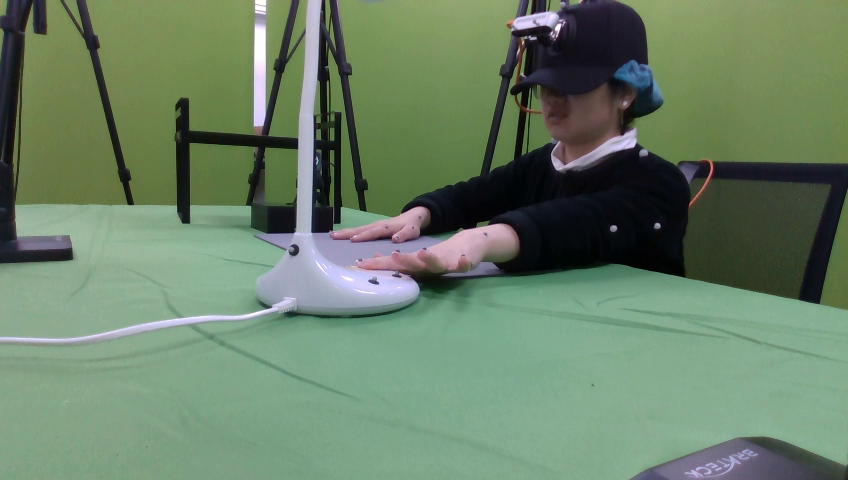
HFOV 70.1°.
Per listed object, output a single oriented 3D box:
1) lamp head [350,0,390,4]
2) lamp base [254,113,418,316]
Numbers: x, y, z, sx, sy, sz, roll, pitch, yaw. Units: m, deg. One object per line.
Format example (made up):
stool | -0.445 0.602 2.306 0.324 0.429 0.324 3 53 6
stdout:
lamp head | -0.053 -0.313 0.597 0.112 0.112 0.123 6 -28 25
lamp base | -0.086 -0.027 0.577 0.160 0.180 0.179 4 10 16
